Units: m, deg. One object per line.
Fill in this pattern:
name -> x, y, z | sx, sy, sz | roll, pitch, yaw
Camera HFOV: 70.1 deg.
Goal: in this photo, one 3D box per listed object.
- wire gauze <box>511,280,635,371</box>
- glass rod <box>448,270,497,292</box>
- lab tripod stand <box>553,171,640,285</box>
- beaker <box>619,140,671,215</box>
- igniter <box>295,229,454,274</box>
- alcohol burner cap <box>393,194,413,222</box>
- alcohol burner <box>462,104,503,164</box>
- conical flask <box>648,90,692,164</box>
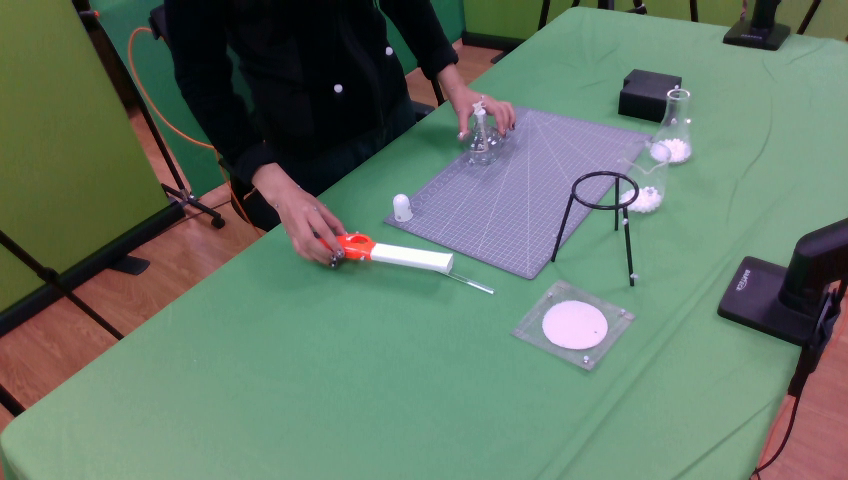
wire gauze -> 0.203, 0.114, 0.822 | 0.120, 0.011, 0.125 | 25, 52, 35
glass rod -> 0.027, 0.044, 0.937 | 0.198, 0.008, 0.008 | 21, 49, 31
lab tripod stand -> 0.260, -0.025, 0.877 | 0.148, 0.132, 0.147 | -6, 38, 5
beaker -> 0.352, -0.096, 0.971 | 0.074, 0.101, 0.084 | 1, 42, 13
igniter -> -0.086, 0.016, 0.947 | 0.275, 0.025, 0.057 | 9, 43, 21
alcohol burner cap -> -0.038, -0.057, 1.038 | 0.034, 0.048, 0.033 | -6, 41, 5
alcohol burner -> 0.109, -0.202, 1.127 | 0.078, 0.119, 0.077 | -5, 42, 5
conical flask -> 0.437, -0.199, 1.057 | 0.075, 0.122, 0.075 | -5, 40, 5
